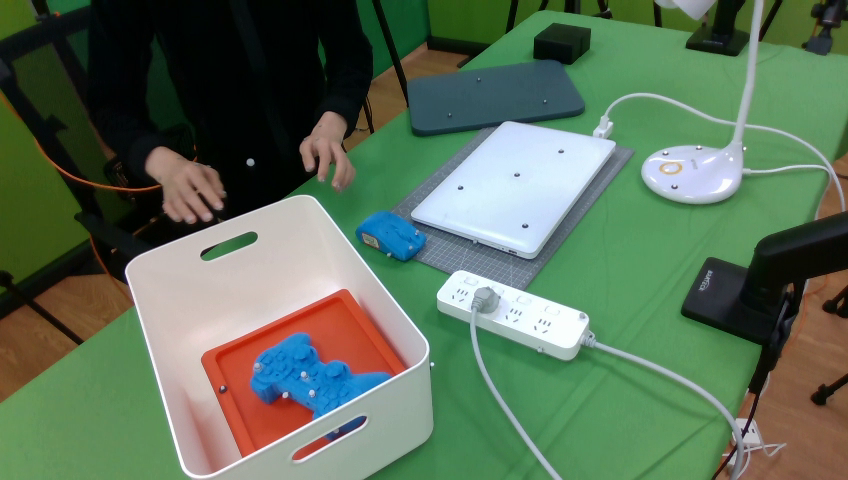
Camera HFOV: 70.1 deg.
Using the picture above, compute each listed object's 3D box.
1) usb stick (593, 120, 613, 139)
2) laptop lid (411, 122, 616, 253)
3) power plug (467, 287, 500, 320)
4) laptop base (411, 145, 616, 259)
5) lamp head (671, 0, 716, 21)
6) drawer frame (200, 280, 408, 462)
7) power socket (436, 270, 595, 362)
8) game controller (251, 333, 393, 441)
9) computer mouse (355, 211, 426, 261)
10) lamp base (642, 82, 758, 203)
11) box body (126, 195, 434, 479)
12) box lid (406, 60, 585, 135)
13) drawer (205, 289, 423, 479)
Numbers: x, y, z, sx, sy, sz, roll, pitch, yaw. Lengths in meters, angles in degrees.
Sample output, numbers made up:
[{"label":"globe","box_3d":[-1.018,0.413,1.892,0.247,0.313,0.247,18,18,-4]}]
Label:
[{"label":"usb stick","box_3d":[0.336,-0.201,1.146,0.021,0.027,0.059,25,52,27]},{"label":"laptop lid","box_3d":[0.165,-0.111,1.067,0.240,0.013,0.357,19,46,31]},{"label":"power plug","box_3d":[0.073,0.092,0.814,0.035,0.053,0.073,29,54,34]},{"label":"laptop base","box_3d":[0.168,-0.101,1.073,0.234,0.023,0.355,17,46,31]},{"label":"lamp head","box_3d":[0.375,-0.373,0.807,0.122,0.113,0.112,-40,27,32]},{"label":"drawer frame","box_3d":[-0.132,0.176,0.729,0.202,0.083,0.211,-27,50,-19]},{"label":"power socket","box_3d":[0.118,0.101,0.832,0.225,0.033,0.072,19,48,27]},{"label":"game controller","box_3d":[-0.120,0.155,0.676,0.154,0.052,0.097,20,51,28]},{"label":"computer mouse","box_3d":[-0.055,-0.010,0.979,0.116,0.041,0.063,27,50,29]},{"label":"lamp base","box_3d":[0.464,-0.174,0.992,0.179,0.181,0.159,-5,41,-1]},{"label":"box body","box_3d":[-0.175,0.131,0.737,0.255,0.161,0.360,-25,43,-19]},{"label":"box lid","box_3d":[0.150,-0.320,1.340,0.372,0.015,0.261,-8,40,0]},{"label":"drawer","box_3d":[-0.134,0.189,0.743,0.195,0.073,0.210,-25,54,-21]}]
